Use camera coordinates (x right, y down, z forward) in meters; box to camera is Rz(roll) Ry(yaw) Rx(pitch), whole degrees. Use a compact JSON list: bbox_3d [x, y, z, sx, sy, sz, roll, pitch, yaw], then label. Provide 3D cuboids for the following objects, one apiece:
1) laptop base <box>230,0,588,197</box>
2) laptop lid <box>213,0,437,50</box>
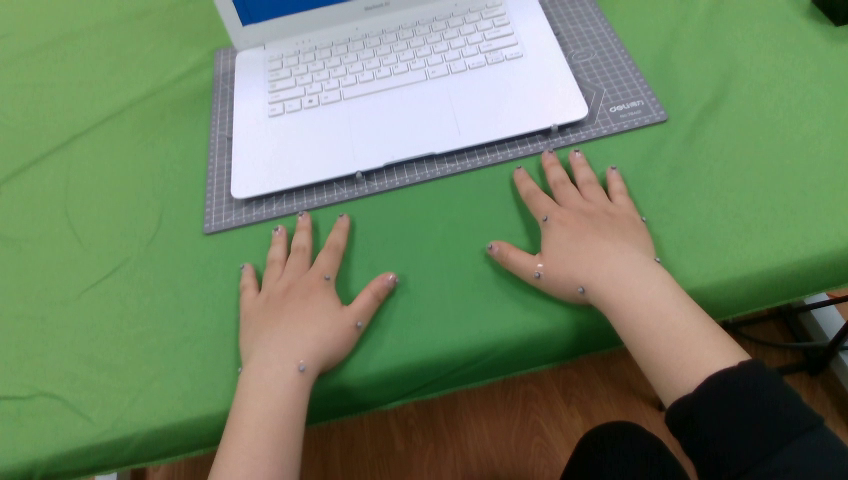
[{"bbox_3d":[-0.032,-0.167,0.645,0.354,0.023,0.233,-13,56,2],"label":"laptop base"},{"bbox_3d":[-0.073,-0.341,0.630,0.357,0.244,0.013,-14,45,3],"label":"laptop lid"}]
